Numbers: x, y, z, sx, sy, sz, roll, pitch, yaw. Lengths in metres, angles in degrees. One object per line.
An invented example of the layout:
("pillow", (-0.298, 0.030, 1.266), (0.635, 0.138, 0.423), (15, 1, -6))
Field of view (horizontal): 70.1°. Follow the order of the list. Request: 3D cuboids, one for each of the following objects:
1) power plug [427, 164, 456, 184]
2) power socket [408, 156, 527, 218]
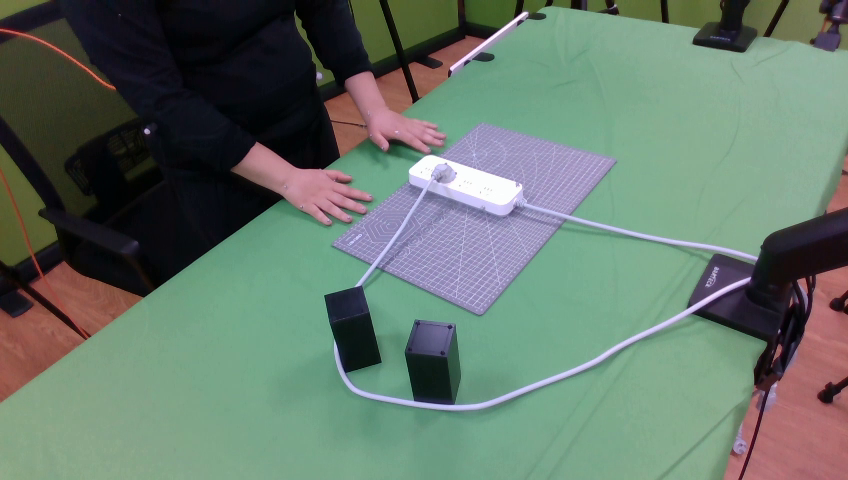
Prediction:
("power plug", (0.024, -0.103, 1.047), (0.073, 0.053, 0.035), (-35, 46, -27))
("power socket", (0.070, -0.095, 1.059), (0.225, 0.033, 0.072), (22, 49, 30))
